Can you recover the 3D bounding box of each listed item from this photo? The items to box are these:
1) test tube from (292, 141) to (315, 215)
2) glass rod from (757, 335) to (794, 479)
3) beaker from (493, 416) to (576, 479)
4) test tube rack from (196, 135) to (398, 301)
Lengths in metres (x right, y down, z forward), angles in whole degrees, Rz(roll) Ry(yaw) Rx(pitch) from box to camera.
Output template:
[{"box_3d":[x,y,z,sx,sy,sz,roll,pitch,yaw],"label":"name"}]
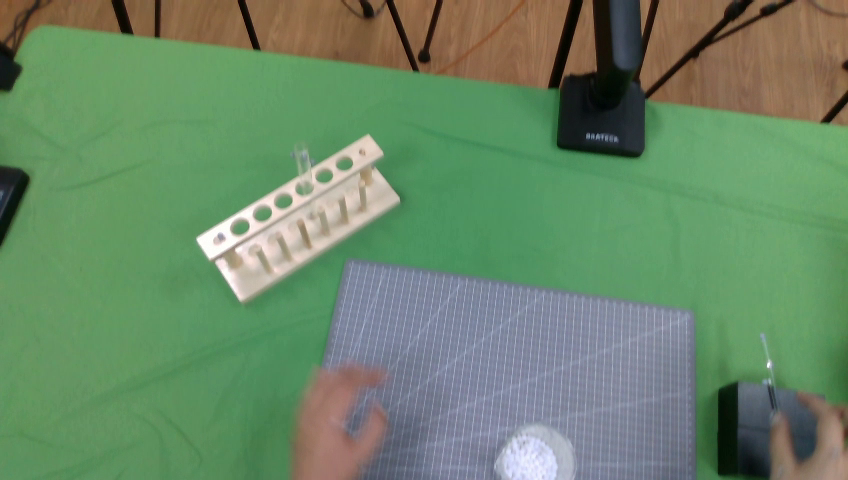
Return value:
[{"box_3d":[-0.143,-0.070,0.727,0.017,0.151,0.017,2,64,-4],"label":"test tube"},{"box_3d":[0.394,0.203,0.672,0.008,0.008,0.198,0,68,-1],"label":"glass rod"},{"box_3d":[0.111,0.235,0.652,0.084,0.101,0.073,-7,67,-3],"label":"beaker"},{"box_3d":[-0.151,-0.028,0.763,0.242,0.086,0.066,-34,71,-14],"label":"test tube rack"}]
